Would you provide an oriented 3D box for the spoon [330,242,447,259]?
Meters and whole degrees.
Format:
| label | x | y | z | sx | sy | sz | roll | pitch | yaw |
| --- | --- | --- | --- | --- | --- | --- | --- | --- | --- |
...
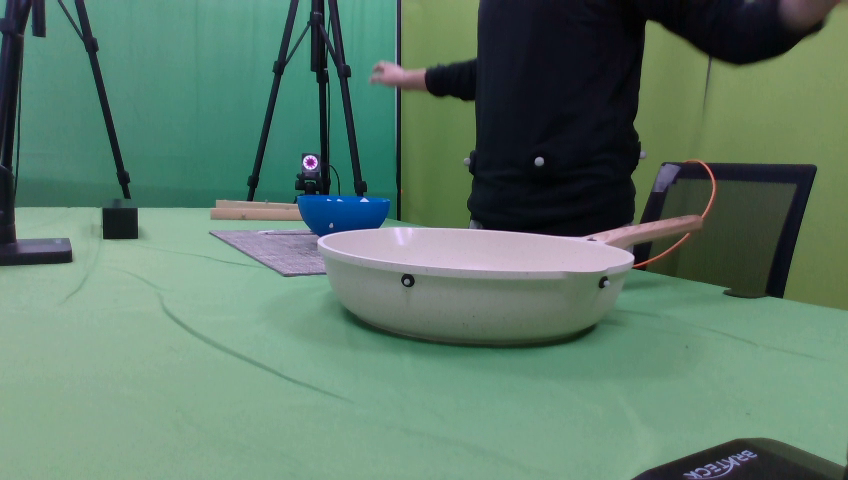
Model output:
| label | x | y | z | sx | sy | sz | roll | pitch | yaw |
| --- | --- | --- | --- | --- | --- | --- | --- | --- | --- |
| spoon | -0.046 | 0.011 | 0.883 | 0.195 | 0.021 | 0.041 | -4 | 24 | -30 |

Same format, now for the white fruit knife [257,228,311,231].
| label | x | y | z | sx | sy | sz | roll | pitch | yaw |
| --- | --- | --- | --- | --- | --- | --- | --- | --- | --- |
| white fruit knife | -0.202 | -0.021 | 1.116 | 0.208 | 0.016 | 0.027 | -2 | -2 | -24 |

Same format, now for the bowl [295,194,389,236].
| label | x | y | z | sx | sy | sz | roll | pitch | yaw |
| --- | --- | --- | --- | --- | --- | --- | --- | --- | --- |
| bowl | -0.132 | -0.032 | 0.980 | 0.151 | 0.077 | 0.151 | 2 | 7 | 0 |

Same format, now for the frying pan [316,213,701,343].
| label | x | y | z | sx | sy | sz | roll | pitch | yaw |
| --- | --- | --- | --- | --- | --- | --- | --- | --- | --- |
| frying pan | 0.133 | 0.013 | 0.629 | 0.490 | 0.102 | 0.305 | -12 | 14 | -30 |

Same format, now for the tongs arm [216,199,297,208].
| label | x | y | z | sx | sy | sz | roll | pitch | yaw |
| --- | --- | --- | --- | --- | --- | --- | --- | --- | --- |
| tongs arm | -0.307 | -0.076 | 1.470 | 0.386 | 0.026 | 0.050 | 2 | 8 | -11 |

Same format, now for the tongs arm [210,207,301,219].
| label | x | y | z | sx | sy | sz | roll | pitch | yaw |
| --- | --- | --- | --- | --- | --- | --- | --- | --- | --- |
| tongs arm | -0.287 | -0.062 | 1.393 | 0.389 | 0.028 | 0.028 | -1 | 5 | -23 |
